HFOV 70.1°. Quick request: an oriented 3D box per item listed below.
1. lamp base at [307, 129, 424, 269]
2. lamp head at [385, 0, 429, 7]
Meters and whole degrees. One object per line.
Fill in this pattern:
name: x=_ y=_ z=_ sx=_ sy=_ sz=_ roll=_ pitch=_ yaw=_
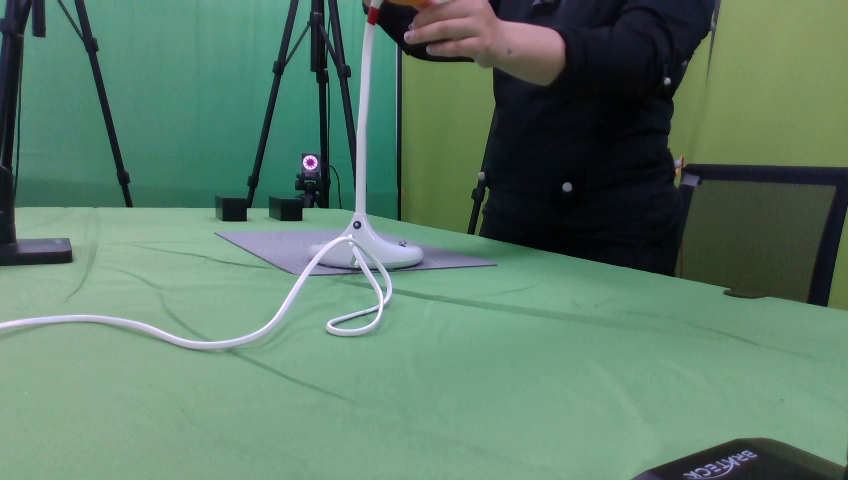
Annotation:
lamp base: x=-0.077 y=-0.057 z=0.811 sx=0.161 sy=0.180 sz=0.179 roll=2 pitch=10 yaw=-4
lamp head: x=-0.021 y=-0.325 z=0.670 sx=0.112 sy=0.123 sz=0.112 roll=4 pitch=3 yaw=0
